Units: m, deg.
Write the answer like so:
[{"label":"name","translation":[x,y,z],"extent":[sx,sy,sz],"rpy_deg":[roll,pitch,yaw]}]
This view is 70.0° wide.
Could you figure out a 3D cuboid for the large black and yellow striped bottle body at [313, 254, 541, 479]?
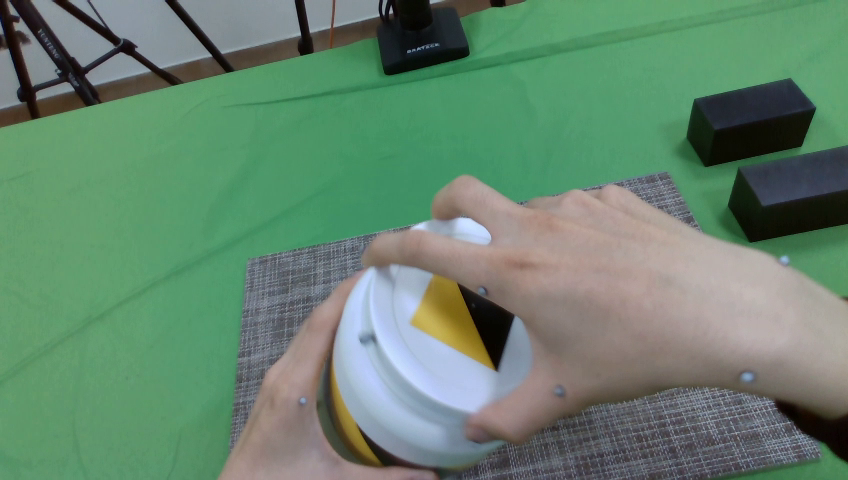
[{"label":"large black and yellow striped bottle body","translation":[0.001,0.078,0.400],"extent":[0.131,0.185,0.129],"rpy_deg":[8,58,-13]}]

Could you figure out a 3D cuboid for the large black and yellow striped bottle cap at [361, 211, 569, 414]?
[{"label":"large black and yellow striped bottle cap","translation":[0.023,0.036,0.330],"extent":[0.115,0.019,0.114],"rpy_deg":[8,58,-12]}]
